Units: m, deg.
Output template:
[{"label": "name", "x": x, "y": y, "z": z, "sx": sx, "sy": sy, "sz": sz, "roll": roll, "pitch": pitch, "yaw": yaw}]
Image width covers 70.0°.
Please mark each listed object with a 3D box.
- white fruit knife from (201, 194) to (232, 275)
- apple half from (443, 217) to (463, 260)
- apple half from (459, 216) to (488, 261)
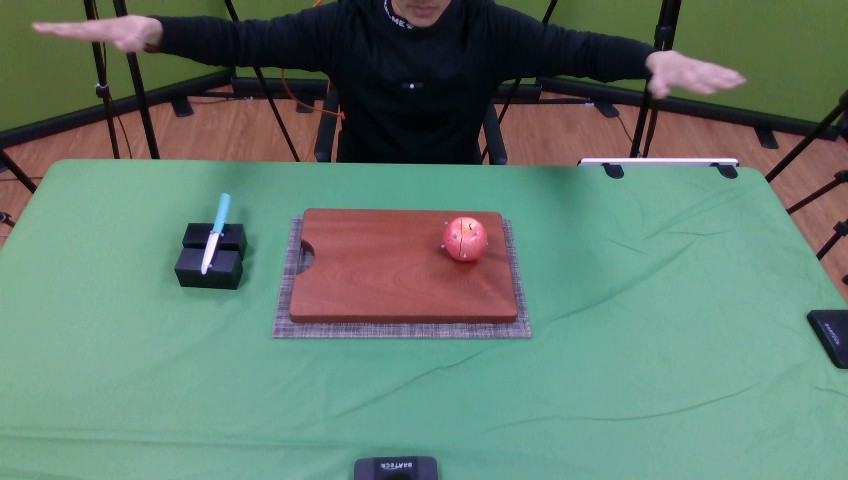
[{"label": "white fruit knife", "x": -0.383, "y": -0.015, "z": 1.119, "sx": 0.027, "sy": 0.016, "sz": 0.206, "roll": -19, "pitch": 45, "yaw": 18}, {"label": "apple half", "x": 0.052, "y": -0.001, "z": 1.123, "sx": 0.033, "sy": 0.081, "sz": 0.081, "roll": 4, "pitch": 46, "yaw": -3}, {"label": "apple half", "x": 0.091, "y": 0.000, "z": 1.126, "sx": 0.053, "sy": 0.075, "sz": 0.080, "roll": 5, "pitch": 42, "yaw": -5}]
